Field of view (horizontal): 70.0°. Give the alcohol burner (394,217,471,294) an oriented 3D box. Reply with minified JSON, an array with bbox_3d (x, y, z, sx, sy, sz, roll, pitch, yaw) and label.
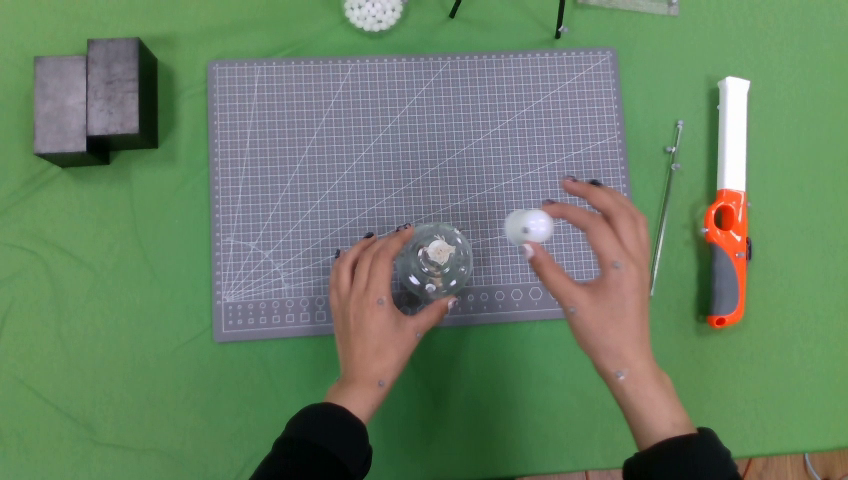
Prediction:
[{"bbox_3d":[0.010,0.012,0.587,0.078,0.119,0.077,1,81,-4],"label":"alcohol burner"}]

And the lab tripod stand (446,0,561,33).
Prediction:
[{"bbox_3d":[0.094,-0.293,0.622,0.148,0.132,0.148,0,82,-2],"label":"lab tripod stand"}]

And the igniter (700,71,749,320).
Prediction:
[{"bbox_3d":[0.330,-0.050,0.661,0.057,0.025,0.275,7,83,-13],"label":"igniter"}]

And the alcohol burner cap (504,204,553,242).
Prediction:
[{"bbox_3d":[0.088,-0.014,0.497,0.034,0.048,0.034,0,90,-10],"label":"alcohol burner cap"}]

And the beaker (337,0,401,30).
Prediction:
[{"bbox_3d":[-0.056,-0.269,0.627,0.084,0.100,0.074,42,83,1],"label":"beaker"}]

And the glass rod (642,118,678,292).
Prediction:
[{"bbox_3d":[0.260,-0.040,0.666,0.008,0.008,0.199,13,83,-2],"label":"glass rod"}]

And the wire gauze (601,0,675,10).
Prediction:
[{"bbox_3d":[0.229,-0.328,0.698,0.125,0.011,0.121,4,82,-1],"label":"wire gauze"}]
